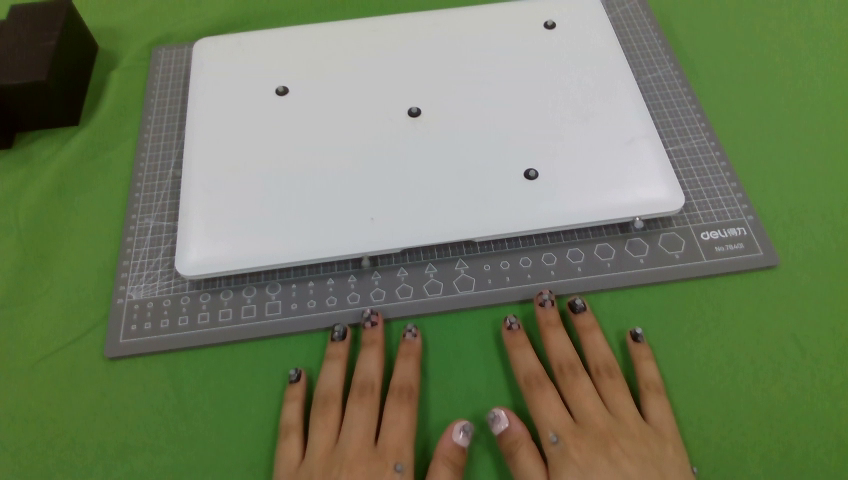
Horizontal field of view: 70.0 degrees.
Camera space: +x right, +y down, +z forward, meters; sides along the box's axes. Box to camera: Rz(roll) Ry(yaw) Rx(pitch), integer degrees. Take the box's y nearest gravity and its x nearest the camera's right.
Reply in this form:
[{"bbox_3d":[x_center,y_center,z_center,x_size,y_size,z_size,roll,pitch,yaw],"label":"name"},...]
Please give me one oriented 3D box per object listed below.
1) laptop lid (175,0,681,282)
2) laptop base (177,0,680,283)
[{"bbox_3d":[-0.008,-0.094,0.466,0.357,0.013,0.239,-6,60,-2],"label":"laptop lid"},{"bbox_3d":[-0.008,-0.089,0.478,0.355,0.023,0.233,-8,61,-3],"label":"laptop base"}]
